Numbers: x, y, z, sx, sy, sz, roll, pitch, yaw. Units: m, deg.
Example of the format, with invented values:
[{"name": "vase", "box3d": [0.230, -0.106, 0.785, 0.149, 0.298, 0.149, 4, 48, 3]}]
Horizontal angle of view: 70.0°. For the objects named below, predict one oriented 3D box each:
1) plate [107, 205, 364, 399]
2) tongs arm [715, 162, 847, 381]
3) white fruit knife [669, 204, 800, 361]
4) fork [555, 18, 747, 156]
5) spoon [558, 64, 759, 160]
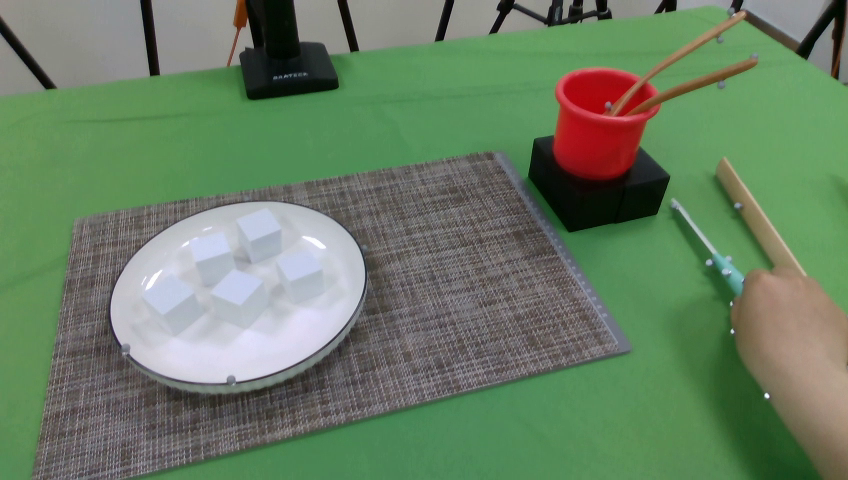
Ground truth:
[{"name": "plate", "box3d": [-0.155, 0.050, 0.519, 0.208, 0.039, 0.205, 1, 43, -1]}, {"name": "tongs arm", "box3d": [0.351, 0.053, 0.543, 0.028, 0.028, 0.383, -1, 44, -6]}, {"name": "white fruit knife", "box3d": [0.282, 0.029, 0.571, 0.028, 0.016, 0.205, 30, 27, -32]}, {"name": "fork", "box3d": [0.216, -0.145, 0.585, 0.207, 0.019, 0.028, -39, 21, 16]}, {"name": "spoon", "box3d": [0.202, -0.112, 0.549, 0.022, 0.193, 0.041, 55, 48, -7]}]
